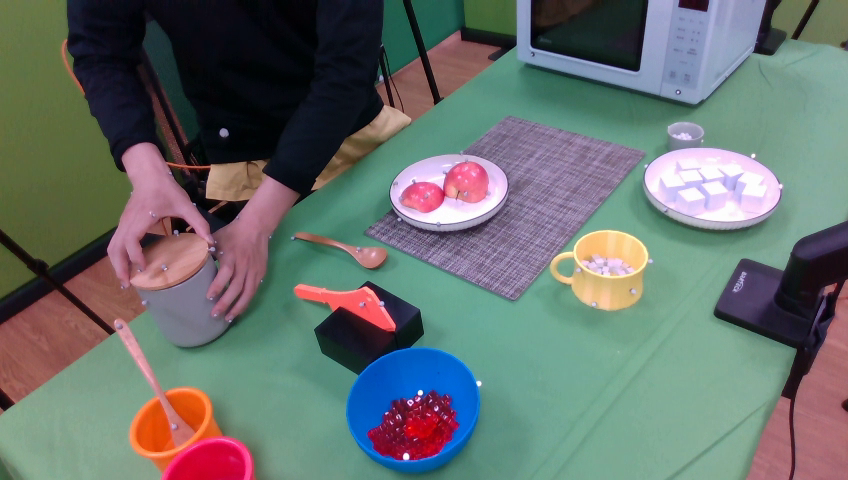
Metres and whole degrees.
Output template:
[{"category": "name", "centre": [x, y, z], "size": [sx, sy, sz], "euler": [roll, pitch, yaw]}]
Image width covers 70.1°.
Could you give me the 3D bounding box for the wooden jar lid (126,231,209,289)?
[{"category": "wooden jar lid", "centre": [-0.340, 0.030, 0.808], "size": [0.108, 0.021, 0.108], "euler": [-5, 40, 5]}]

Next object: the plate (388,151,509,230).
[{"category": "plate", "centre": [0.043, -0.082, 1.042], "size": [0.209, 0.038, 0.208], "euler": [-4, 40, 4]}]

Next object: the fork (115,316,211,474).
[{"category": "fork", "centre": [-0.308, 0.179, 0.708], "size": [0.028, 0.018, 0.207], "euler": [-30, 89, -22]}]

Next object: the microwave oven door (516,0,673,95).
[{"category": "microwave oven door", "centre": [0.344, -0.458, 1.256], "size": [0.353, 0.245, 0.039], "euler": [26, 51, 33]}]

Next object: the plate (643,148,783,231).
[{"category": "plate", "centre": [0.464, -0.079, 0.986], "size": [0.207, 0.039, 0.206], "euler": [-4, 40, 4]}]

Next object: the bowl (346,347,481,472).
[{"category": "bowl", "centre": [-0.008, 0.205, 0.691], "size": [0.151, 0.077, 0.150], "euler": [-4, 40, 4]}]

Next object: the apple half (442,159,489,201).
[{"category": "apple half", "centre": [0.074, -0.110, 1.047], "size": [0.080, 0.053, 0.075], "euler": [21, 45, 30]}]

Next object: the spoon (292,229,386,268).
[{"category": "spoon", "centre": [-0.141, 0.007, 0.982], "size": [0.192, 0.022, 0.041], "euler": [18, 66, 26]}]

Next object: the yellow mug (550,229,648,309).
[{"category": "yellow mug", "centre": [0.245, 0.040, 0.857], "size": [0.130, 0.064, 0.099], "euler": [1, 42, 11]}]

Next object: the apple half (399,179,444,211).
[{"category": "apple half", "centre": [-0.004, -0.087, 1.045], "size": [0.081, 0.033, 0.081], "euler": [-2, 43, 2]}]

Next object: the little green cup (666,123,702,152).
[{"category": "little green cup", "centre": [0.472, -0.183, 1.102], "size": [0.061, 0.039, 0.061], "euler": [-5, 41, 5]}]

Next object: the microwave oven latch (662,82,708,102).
[{"category": "microwave oven latch", "centre": [0.517, -0.298, 1.203], "size": [0.078, 0.029, 0.030], "euler": [28, 53, 35]}]

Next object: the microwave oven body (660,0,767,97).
[{"category": "microwave oven body", "centre": [0.473, -0.517, 1.313], "size": [0.438, 0.261, 0.327], "euler": [26, 51, 34]}]

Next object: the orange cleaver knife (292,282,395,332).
[{"category": "orange cleaver knife", "centre": [-0.116, 0.091, 0.835], "size": [0.209, 0.077, 0.012], "euler": [2, 32, 48]}]

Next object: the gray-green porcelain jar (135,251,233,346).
[{"category": "gray-green porcelain jar", "centre": [-0.333, 0.077, 0.849], "size": [0.106, 0.127, 0.105], "euler": [-4, 41, 4]}]
